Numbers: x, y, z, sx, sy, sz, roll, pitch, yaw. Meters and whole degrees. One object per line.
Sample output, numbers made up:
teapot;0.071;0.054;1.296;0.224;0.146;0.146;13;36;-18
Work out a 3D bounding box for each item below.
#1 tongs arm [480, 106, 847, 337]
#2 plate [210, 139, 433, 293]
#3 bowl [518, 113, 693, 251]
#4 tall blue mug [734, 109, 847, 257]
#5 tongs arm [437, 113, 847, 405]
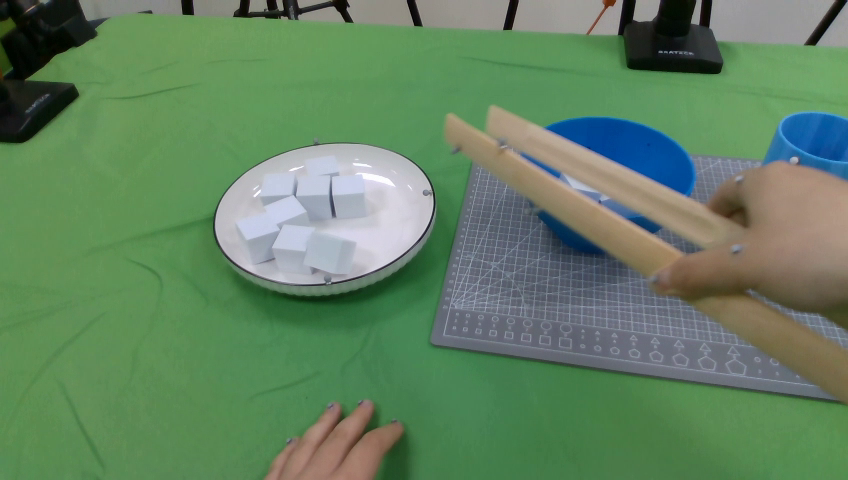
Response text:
tongs arm;0.155;-0.010;0.381;0.028;0.028;0.383;-12;36;-34
plate;-0.094;-0.024;0.580;0.209;0.038;0.207;0;44;1
bowl;0.158;-0.043;0.557;0.151;0.077;0.150;-1;44;1
tall blue mug;0.344;-0.044;0.528;0.106;0.109;0.077;15;46;17
tongs arm;0.131;-0.003;0.366;0.051;0.027;0.380;-13;37;-30
